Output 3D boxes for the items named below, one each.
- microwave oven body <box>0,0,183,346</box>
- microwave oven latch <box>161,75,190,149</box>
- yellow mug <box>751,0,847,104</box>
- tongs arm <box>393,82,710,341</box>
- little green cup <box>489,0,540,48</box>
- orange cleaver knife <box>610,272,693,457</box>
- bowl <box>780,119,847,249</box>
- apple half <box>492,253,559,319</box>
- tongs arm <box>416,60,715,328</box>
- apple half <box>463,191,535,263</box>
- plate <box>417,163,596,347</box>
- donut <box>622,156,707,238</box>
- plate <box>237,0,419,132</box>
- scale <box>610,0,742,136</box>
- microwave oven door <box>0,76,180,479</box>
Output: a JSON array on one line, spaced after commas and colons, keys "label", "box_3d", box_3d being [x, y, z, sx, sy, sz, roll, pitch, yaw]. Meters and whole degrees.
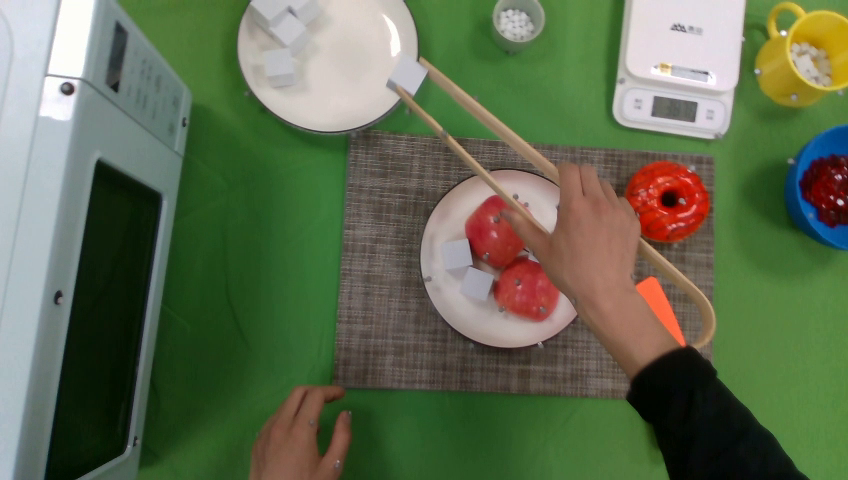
[{"label": "microwave oven body", "box_3d": [-0.439, 0.006, 0.549, 0.326, 0.260, 0.440, 6, 85, -4]}, {"label": "microwave oven latch", "box_3d": [-0.281, -0.143, 0.672, 0.030, 0.029, 0.079, 9, 85, -4]}, {"label": "yellow mug", "box_3d": [0.462, -0.240, 0.747, 0.100, 0.064, 0.130, -29, 87, -6]}, {"label": "tongs arm", "box_3d": [0.117, -0.036, 0.597, 0.051, 0.026, 0.383, -42, 81, -9]}, {"label": "little green cup", "box_3d": [0.107, -0.265, 0.734, 0.061, 0.038, 0.061, 0, 84, -4]}, {"label": "orange cleaver knife", "box_3d": [0.280, 0.145, 0.716, 0.077, 0.012, 0.211, -14, 85, -11]}, {"label": "bowl", "box_3d": [0.488, -0.061, 0.726, 0.151, 0.077, 0.151, 0, 85, -4]}, {"label": "apple half", "box_3d": [0.120, 0.051, 0.696, 0.081, 0.033, 0.081, 0, 86, -1]}, {"label": "tongs arm", "box_3d": [0.133, -0.053, 0.601, 0.386, 0.028, 0.028, 42, 77, 9]}, {"label": "apple half", "box_3d": [0.087, -0.019, 0.690, 0.081, 0.053, 0.074, -42, 86, -8]}, {"label": "plate", "box_3d": [0.094, 0.018, 0.703, 0.209, 0.038, 0.208, 1, 85, -5]}, {"label": "donut", "box_3d": [0.284, -0.051, 0.722, 0.099, 0.048, 0.099, 0, 86, -2]}, {"label": "plate", "box_3d": [-0.110, -0.225, 0.713, 0.208, 0.039, 0.207, 1, 84, -5]}, {"label": "scale", "box_3d": [0.312, -0.236, 0.751, 0.149, 0.031, 0.200, 8, 84, -3]}, {"label": "microwave oven door", "box_3d": [-0.298, 0.064, 0.549, 0.039, 0.244, 0.355, 6, 84, -4]}]
